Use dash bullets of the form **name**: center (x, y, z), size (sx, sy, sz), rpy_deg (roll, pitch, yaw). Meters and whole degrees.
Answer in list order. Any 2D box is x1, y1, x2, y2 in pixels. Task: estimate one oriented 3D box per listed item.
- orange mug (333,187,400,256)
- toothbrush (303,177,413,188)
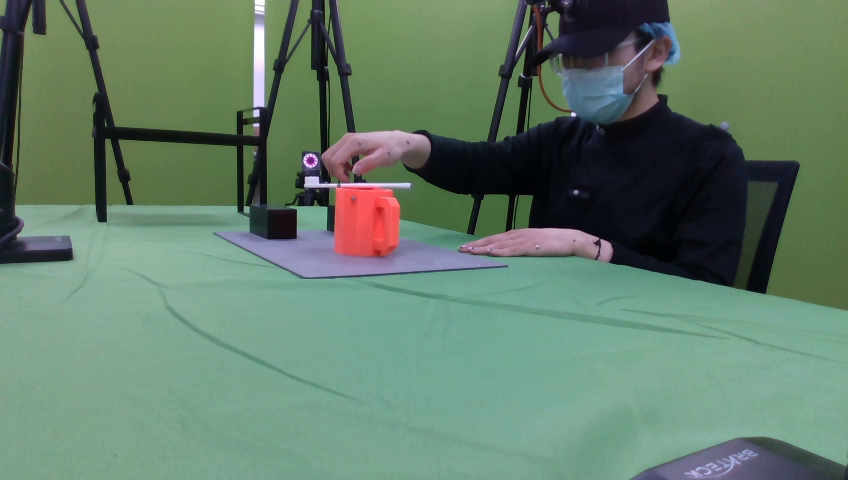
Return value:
- **orange mug**: center (-0.080, -0.029, 0.888), size (0.084, 0.100, 0.125), rpy_deg (-4, 5, -40)
- **toothbrush**: center (-0.097, -0.086, 0.920), size (0.183, 0.016, 0.014), rpy_deg (-2, 1, -32)
